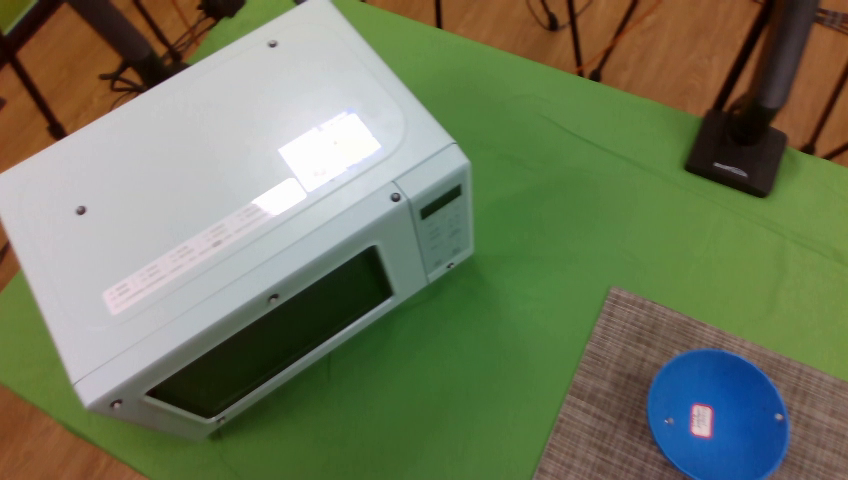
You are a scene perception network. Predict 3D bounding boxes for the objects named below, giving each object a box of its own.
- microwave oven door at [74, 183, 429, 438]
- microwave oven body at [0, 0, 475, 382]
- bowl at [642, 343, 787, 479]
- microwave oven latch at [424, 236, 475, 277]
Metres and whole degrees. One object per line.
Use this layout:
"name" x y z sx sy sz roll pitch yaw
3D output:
"microwave oven door" -0.159 0.091 0.683 0.356 0.246 0.039 -34 66 -10
"microwave oven body" -0.206 -0.036 0.750 0.442 0.262 0.323 -34 68 -10
"bowl" 0.321 0.202 0.698 0.151 0.077 0.150 -2 65 4
"microwave oven latch" 0.032 0.015 0.813 0.079 0.030 0.030 -32 67 -9
